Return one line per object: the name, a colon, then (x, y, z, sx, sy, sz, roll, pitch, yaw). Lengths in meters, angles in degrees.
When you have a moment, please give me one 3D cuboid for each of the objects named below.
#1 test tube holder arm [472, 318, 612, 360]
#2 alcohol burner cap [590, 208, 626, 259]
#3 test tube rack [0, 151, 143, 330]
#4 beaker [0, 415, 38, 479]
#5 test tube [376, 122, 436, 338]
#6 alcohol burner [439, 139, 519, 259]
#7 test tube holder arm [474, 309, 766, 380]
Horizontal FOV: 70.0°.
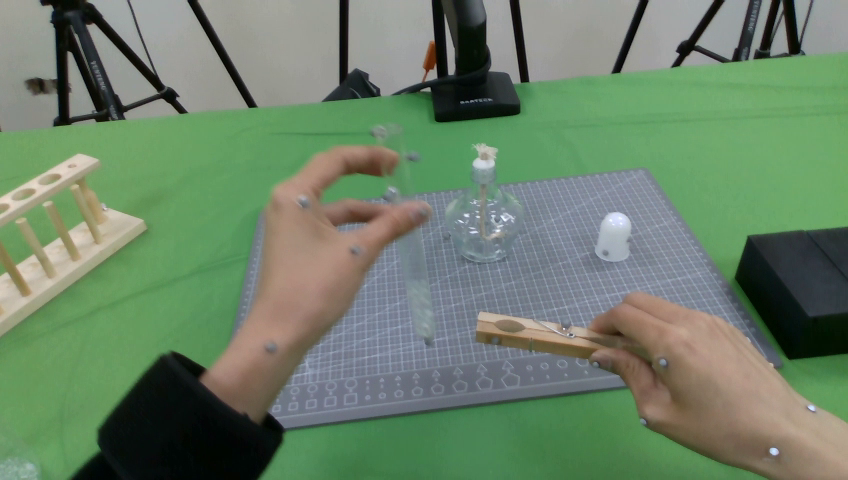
test tube holder arm: (0.074, 0.063, 0.387, 0.087, 0.015, 0.010, 7, 48, 9)
alcohol burner cap: (0.179, -0.008, 0.583, 0.034, 0.048, 0.033, -3, 39, 3)
test tube rack: (-0.404, 0.014, 0.588, 0.066, 0.086, 0.241, 17, 44, 24)
beaker: (-0.320, 0.146, 0.406, 0.084, 0.101, 0.073, -23, 42, -19)
test tube: (-0.009, 0.000, 0.380, 0.017, 0.151, 0.017, -7, 29, 4)
alcohol burner: (0.052, -0.041, 0.580, 0.078, 0.120, 0.077, -3, 38, 3)
test tube holder arm: (0.120, 0.065, 0.383, 0.178, 0.015, 0.013, 8, 48, 10)
